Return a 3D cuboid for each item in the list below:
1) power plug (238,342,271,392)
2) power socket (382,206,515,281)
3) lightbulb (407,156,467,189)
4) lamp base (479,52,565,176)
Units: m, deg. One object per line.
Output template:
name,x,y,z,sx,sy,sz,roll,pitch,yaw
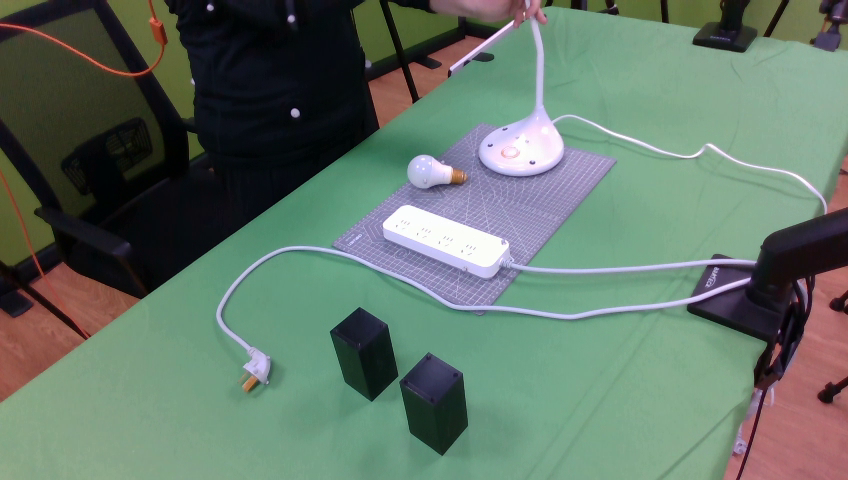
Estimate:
power plug,-0.230,0.172,0.801,0.072,0.035,0.053,9,51,50
power socket,0.032,0.002,0.950,0.225,0.033,0.072,21,49,29
lightbulb,0.023,-0.118,1.081,0.108,0.059,0.059,7,40,-7
lamp base,0.181,-0.235,1.093,0.159,0.181,0.179,18,44,27
